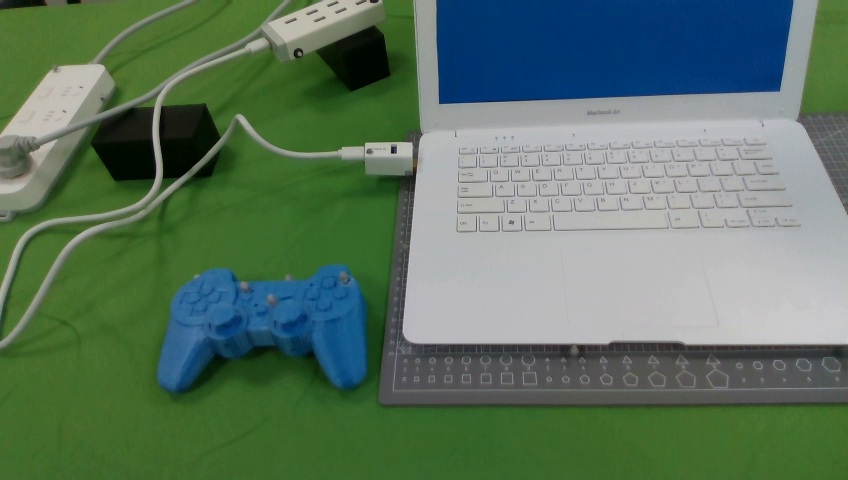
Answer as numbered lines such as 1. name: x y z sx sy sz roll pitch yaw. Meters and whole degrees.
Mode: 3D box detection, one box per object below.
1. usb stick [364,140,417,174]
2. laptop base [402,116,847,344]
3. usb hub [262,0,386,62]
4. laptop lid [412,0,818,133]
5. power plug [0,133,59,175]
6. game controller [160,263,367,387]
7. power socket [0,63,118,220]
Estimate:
1. usb stick: -0.025 -0.077 0.560 0.059 0.027 0.021 2 49 -3
2. laptop base: 0.165 -0.015 0.506 0.354 0.023 0.233 -1 54 5
3. usb hub: -0.106 -0.233 0.649 0.125 0.025 0.049 -30 55 -16
4. laptop lid: 0.165 -0.213 0.536 0.356 0.243 0.013 -2 22 6
5. power plug: -0.377 -0.074 0.575 0.072 0.053 0.035 10 51 12
6. game controller: -0.118 0.060 0.458 0.155 0.052 0.096 -1 46 5
7. power socket: -0.399 -0.115 0.643 0.072 0.033 0.224 1 50 6
